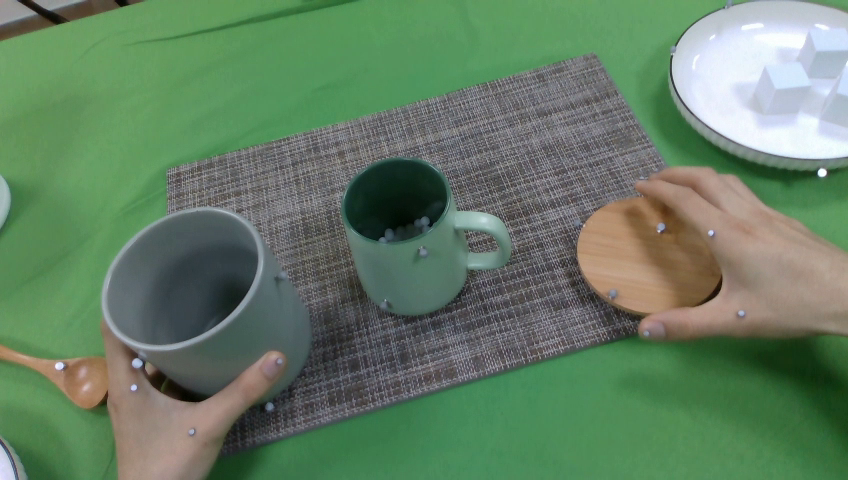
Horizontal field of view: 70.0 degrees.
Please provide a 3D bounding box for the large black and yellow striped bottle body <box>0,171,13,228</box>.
[{"bbox_3d":[-0.485,-0.068,0.532,0.130,0.186,0.129,-4,57,6],"label":"large black and yellow striped bottle body"}]

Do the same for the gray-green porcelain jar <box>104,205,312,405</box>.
[{"bbox_3d":[-0.143,0.054,0.434,0.106,0.128,0.105,-4,57,6],"label":"gray-green porcelain jar"}]

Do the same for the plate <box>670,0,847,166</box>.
[{"bbox_3d":[0.330,-0.144,0.548,0.207,0.039,0.205,-4,57,6],"label":"plate"}]

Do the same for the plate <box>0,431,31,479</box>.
[{"bbox_3d":[-0.366,0.224,0.416,0.209,0.038,0.207,-4,57,6],"label":"plate"}]

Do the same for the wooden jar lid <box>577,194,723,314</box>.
[{"bbox_3d":[0.176,0.012,0.477,0.108,0.021,0.107,-5,58,8],"label":"wooden jar lid"}]

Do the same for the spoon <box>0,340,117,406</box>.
[{"bbox_3d":[-0.329,0.096,0.502,0.193,0.022,0.041,12,77,15],"label":"spoon"}]

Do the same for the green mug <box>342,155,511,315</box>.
[{"bbox_3d":[0.003,-0.001,0.461,0.125,0.106,0.092,4,57,10],"label":"green mug"}]
